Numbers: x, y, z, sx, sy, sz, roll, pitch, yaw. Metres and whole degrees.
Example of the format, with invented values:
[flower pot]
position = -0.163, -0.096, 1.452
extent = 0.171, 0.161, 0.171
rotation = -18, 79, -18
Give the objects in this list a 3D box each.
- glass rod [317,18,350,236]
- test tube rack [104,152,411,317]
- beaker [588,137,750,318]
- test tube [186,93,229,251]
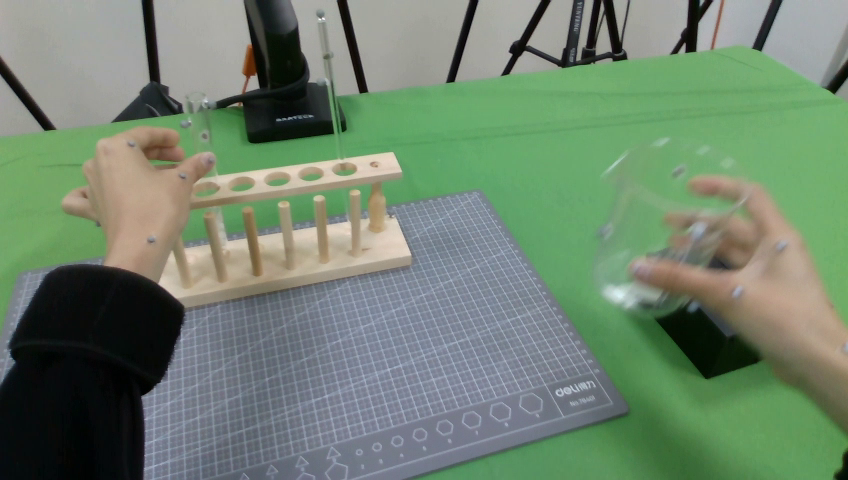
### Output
[glass rod]
position = -0.076, -0.089, 0.526
extent = 0.008, 0.201, 0.008
rotation = -2, 34, 2
[test tube rack]
position = -0.137, -0.008, 0.531
extent = 0.243, 0.086, 0.066
rotation = -10, 41, -13
[beaker]
position = 0.149, -0.005, 0.394
extent = 0.084, 0.101, 0.073
rotation = 6, 43, 3
[test tube]
position = -0.178, -0.050, 0.503
extent = 0.017, 0.151, 0.017
rotation = 4, 38, -3
